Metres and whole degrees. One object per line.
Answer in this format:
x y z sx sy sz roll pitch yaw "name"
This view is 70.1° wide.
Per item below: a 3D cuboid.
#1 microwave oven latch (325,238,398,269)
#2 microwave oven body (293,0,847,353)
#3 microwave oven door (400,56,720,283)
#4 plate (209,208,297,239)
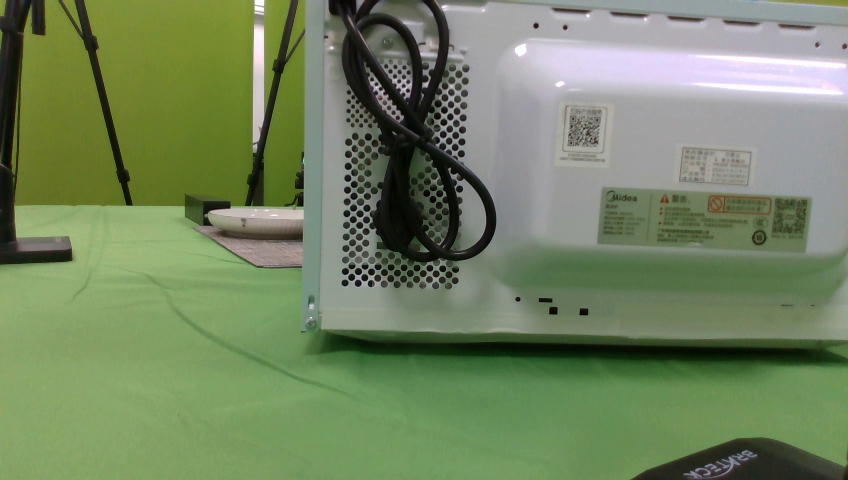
-0.071 0.015 0.691 0.079 0.029 0.030 4 7 3 "microwave oven latch"
0.122 -0.055 0.550 0.442 0.260 0.325 3 7 -5 "microwave oven body"
0.155 -0.077 0.698 0.356 0.243 0.039 2 8 -5 "microwave oven door"
-0.271 -0.029 1.073 0.208 0.039 0.207 3 7 0 "plate"
